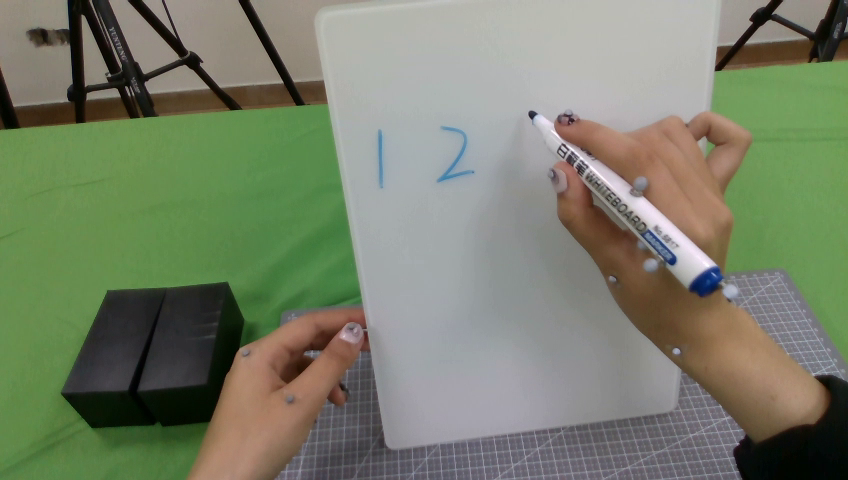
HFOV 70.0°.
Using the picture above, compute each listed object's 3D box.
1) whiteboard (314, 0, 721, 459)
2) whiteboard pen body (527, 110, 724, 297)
[{"bbox_3d":[0.061,-0.021,0.437,0.217,0.307,0.142,-7,25,-1],"label":"whiteboard"},{"bbox_3d":[0.090,-0.025,0.297,0.017,0.017,0.139,-22,52,-17],"label":"whiteboard pen body"}]
